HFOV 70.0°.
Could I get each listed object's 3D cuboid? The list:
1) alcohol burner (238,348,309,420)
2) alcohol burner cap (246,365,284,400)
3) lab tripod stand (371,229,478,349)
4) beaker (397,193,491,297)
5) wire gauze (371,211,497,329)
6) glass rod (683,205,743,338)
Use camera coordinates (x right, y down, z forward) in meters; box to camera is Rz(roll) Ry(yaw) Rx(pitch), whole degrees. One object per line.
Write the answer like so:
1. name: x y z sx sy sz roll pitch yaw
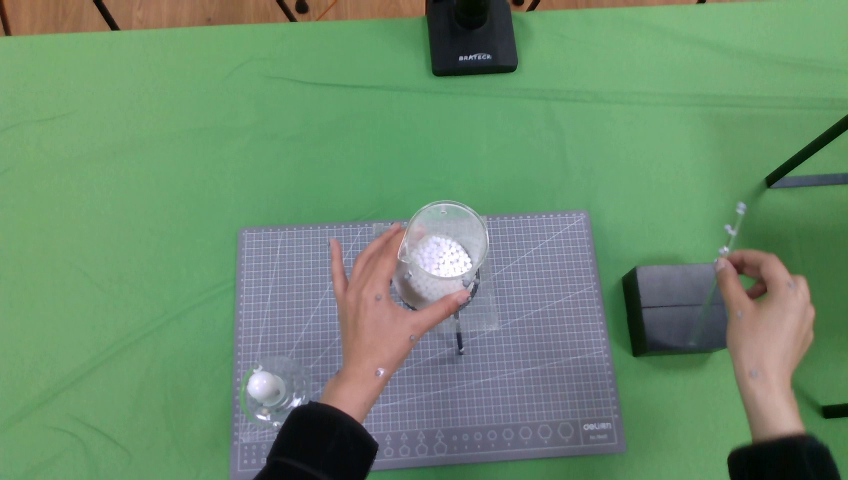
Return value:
1. alcohol burner: -0.165 0.154 0.652 0.078 0.119 0.077 1 74 -3
2. alcohol burner cap: -0.165 0.144 0.617 0.034 0.048 0.033 0 68 1
3. lab tripod stand: 0.010 0.046 0.683 0.148 0.132 0.147 1 70 -1
4. beaker: 0.014 0.011 0.569 0.084 0.101 0.073 -19 74 -10
5. wire gauze: 0.008 0.030 0.618 0.125 0.011 0.120 -2 73 -4
6. glass rod: 0.288 0.039 0.613 0.008 0.201 0.008 -2 46 3
